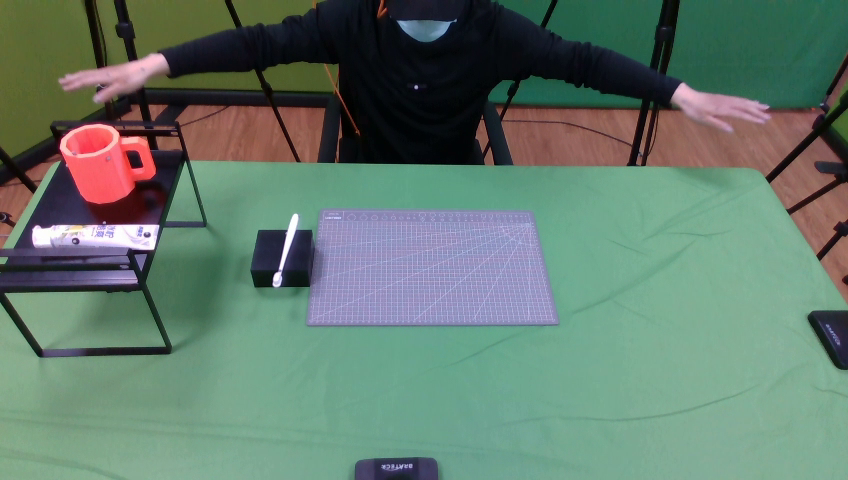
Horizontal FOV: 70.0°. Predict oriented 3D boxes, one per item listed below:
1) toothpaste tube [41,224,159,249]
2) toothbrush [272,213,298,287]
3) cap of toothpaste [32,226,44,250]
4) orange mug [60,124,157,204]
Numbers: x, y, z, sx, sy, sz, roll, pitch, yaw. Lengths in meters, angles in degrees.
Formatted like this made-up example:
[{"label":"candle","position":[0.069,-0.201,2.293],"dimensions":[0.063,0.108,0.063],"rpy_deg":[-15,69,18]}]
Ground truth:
[{"label":"toothpaste tube","position":[-0.491,-0.004,0.913],"dimensions":[0.165,0.035,0.054],"rpy_deg":[-2,50,-12]},{"label":"toothbrush","position":[-0.252,0.012,1.104],"dimensions":[0.014,0.017,0.181],"rpy_deg":[2,46,2]},{"label":"cap of toothpaste","position":[-0.569,-0.004,0.899],"dimensions":[0.011,0.037,0.037],"rpy_deg":[-2,46,-11]},{"label":"orange mug","position":[-0.505,-0.127,0.980],"dimensions":[0.126,0.101,0.083],"rpy_deg":[-13,48,-10]}]
